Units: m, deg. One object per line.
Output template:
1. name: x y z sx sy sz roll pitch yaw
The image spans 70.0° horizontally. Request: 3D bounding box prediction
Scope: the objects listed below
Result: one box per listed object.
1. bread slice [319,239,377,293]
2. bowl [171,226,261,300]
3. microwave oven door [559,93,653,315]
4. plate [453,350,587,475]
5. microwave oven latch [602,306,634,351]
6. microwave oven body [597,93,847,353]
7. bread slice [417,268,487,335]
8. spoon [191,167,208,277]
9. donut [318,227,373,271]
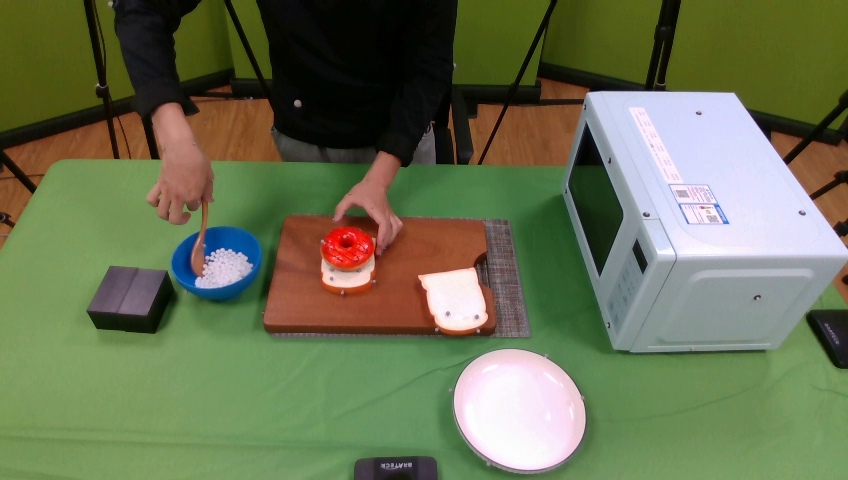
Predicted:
1. bread slice: -0.140 0.044 1.111 0.105 0.019 0.130 0 44 -3
2. bowl: -0.363 0.054 1.081 0.151 0.077 0.150 3 45 -3
3. microwave oven door: 0.327 -0.074 1.123 0.039 0.245 0.353 -1 46 -5
4. plate: 0.147 0.267 0.943 0.208 0.039 0.206 2 45 -2
5. microwave oven latch: 0.332 0.153 1.044 0.030 0.029 0.078 0 45 -4
6. microwave oven body: 0.475 -0.041 1.109 0.326 0.261 0.438 -1 45 -4
7. bread slice: 0.055 0.107 1.063 0.107 0.018 0.133 -9 48 -12
8. spoon: -0.392 -0.031 1.072 0.021 0.194 0.041 8 5 11
9. donut: -0.142 0.017 1.095 0.099 0.048 0.098 2 44 -2
